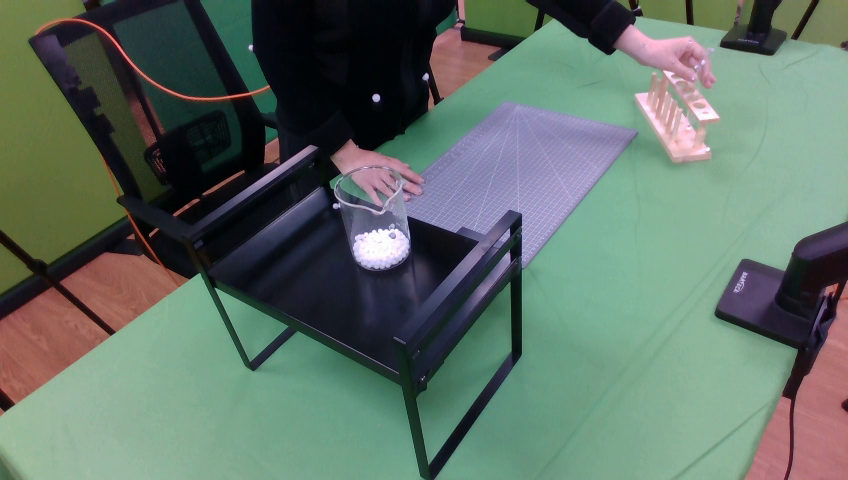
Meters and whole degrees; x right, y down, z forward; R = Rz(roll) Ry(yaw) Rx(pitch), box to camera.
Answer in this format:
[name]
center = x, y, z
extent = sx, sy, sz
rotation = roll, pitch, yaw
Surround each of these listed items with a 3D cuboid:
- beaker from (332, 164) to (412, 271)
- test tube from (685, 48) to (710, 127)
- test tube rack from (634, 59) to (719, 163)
[beaker]
center = -0.053, -0.020, 0.669
extent = 0.074, 0.101, 0.083
rotation = -19, 42, -12
[test tube]
center = 0.485, -0.268, 1.074
extent = 0.017, 0.151, 0.017
rotation = -4, 41, 4
[test tube rack]
center = 0.470, -0.250, 1.148
extent = 0.067, 0.085, 0.241
rotation = -6, 40, 3
